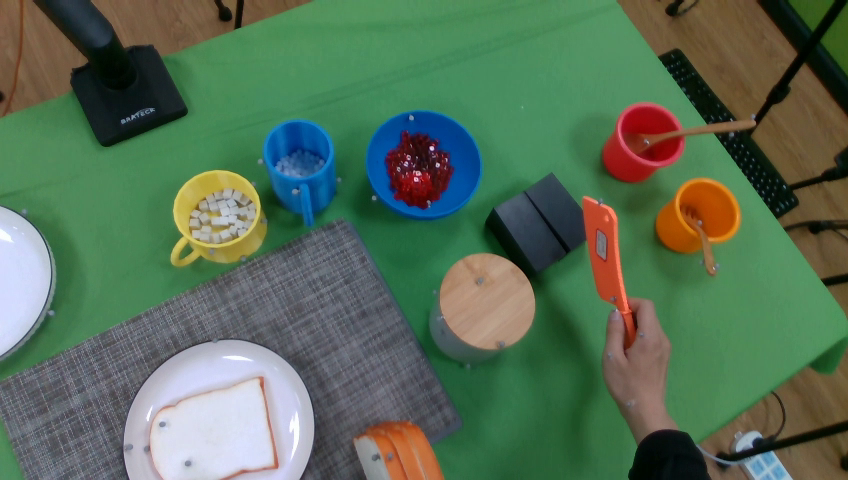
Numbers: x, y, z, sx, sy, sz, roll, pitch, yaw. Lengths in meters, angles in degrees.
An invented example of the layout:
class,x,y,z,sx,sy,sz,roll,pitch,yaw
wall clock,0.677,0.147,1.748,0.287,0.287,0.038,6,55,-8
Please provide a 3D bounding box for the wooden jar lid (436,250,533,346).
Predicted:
class,x,y,z,sx,sy,sz,roll,pitch,yaw
wooden jar lid,0.066,0.064,0.667,0.108,0.021,0.107,3,72,-9

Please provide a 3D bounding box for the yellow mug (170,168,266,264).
class,x,y,z,sx,sy,sz,roll,pitch,yaw
yellow mug,-0.262,-0.020,0.748,0.099,0.064,0.130,38,72,6

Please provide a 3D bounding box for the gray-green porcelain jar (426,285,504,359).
class,x,y,z,sx,sy,sz,roll,pitch,yaw
gray-green porcelain jar,0.059,0.085,0.726,0.106,0.127,0.105,3,71,-7

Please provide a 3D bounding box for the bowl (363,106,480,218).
class,x,y,z,sx,sy,sz,roll,pitch,yaw
bowl,-0.006,-0.091,0.800,0.152,0.077,0.150,2,72,-7

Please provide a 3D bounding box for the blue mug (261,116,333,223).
class,x,y,z,sx,sy,sz,roll,pitch,yaw
blue mug,-0.155,-0.079,0.761,0.082,0.106,0.116,-7,73,-10

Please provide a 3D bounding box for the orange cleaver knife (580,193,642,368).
class,x,y,z,sx,sy,sz,roll,pitch,yaw
orange cleaver knife,0.219,0.046,0.718,0.012,0.077,0.212,-16,99,-13

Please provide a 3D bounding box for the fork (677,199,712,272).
class,x,y,z,sx,sy,sz,roll,pitch,yaw
fork,0.352,-0.009,0.785,0.028,0.019,0.206,35,26,-2

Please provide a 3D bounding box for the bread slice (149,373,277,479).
class,x,y,z,sx,sy,sz,roll,pitch,yaw
bread slice,-0.241,0.218,0.686,0.132,0.019,0.104,-13,73,-15

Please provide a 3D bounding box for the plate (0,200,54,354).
class,x,y,z,sx,sy,sz,roll,pitch,yaw
plate,-0.537,0.049,0.702,0.208,0.039,0.206,3,72,-7

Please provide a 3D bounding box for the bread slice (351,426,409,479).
class,x,y,z,sx,sy,sz,roll,pitch,yaw
bread slice,-0.044,0.249,0.653,0.018,0.135,0.106,-19,73,-22

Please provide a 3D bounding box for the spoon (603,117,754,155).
class,x,y,z,sx,sy,sz,roll,pitch,yaw
spoon,0.343,-0.147,0.831,0.193,0.022,0.041,-6,60,38

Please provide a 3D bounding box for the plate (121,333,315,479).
class,x,y,z,sx,sy,sz,roll,pitch,yaw
plate,-0.228,0.212,0.687,0.209,0.038,0.208,2,72,-7
